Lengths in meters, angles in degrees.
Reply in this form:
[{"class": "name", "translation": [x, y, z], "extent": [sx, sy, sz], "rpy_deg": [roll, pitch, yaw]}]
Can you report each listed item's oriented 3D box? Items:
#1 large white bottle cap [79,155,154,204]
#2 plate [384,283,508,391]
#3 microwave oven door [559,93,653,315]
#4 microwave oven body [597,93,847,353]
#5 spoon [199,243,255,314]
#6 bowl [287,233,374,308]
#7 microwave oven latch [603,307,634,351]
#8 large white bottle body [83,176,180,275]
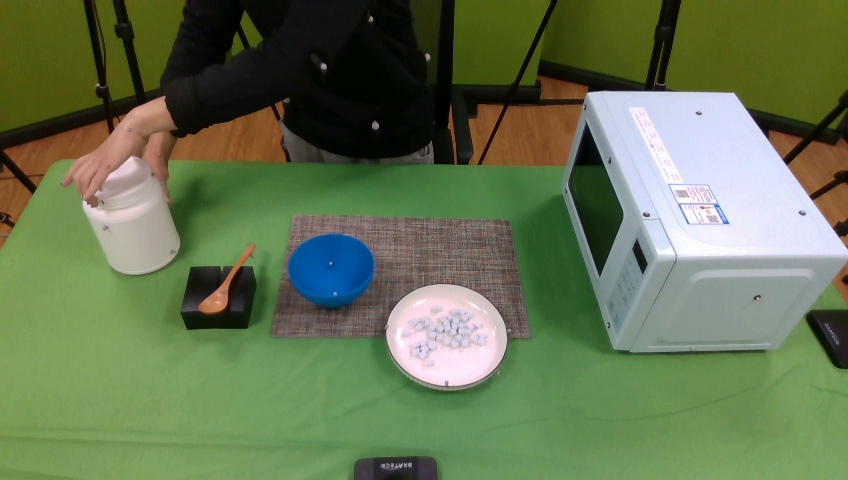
[{"class": "large white bottle cap", "translation": [-0.519, -0.104, 1.025], "extent": [0.115, 0.018, 0.114], "rpy_deg": [3, 45, -3]}, {"class": "plate", "translation": [0.036, 0.166, 1.028], "extent": [0.209, 0.038, 0.208], "rpy_deg": [2, 49, -2]}, {"class": "microwave oven door", "translation": [0.327, -0.074, 1.123], "extent": [0.039, 0.245, 0.353], "rpy_deg": [-1, 46, -5]}, {"class": "microwave oven body", "translation": [0.475, -0.041, 1.109], "extent": [0.326, 0.261, 0.438], "rpy_deg": [-1, 45, -4]}, {"class": "spoon", "translation": [-0.333, 0.063, 1.051], "extent": [0.041, 0.022, 0.193], "rpy_deg": [6, 40, 9]}, {"class": "bowl", "translation": [-0.165, 0.068, 1.078], "extent": [0.151, 0.077, 0.150], "rpy_deg": [3, 46, -3]}, {"class": "microwave oven latch", "translation": [0.332, 0.153, 1.044], "extent": [0.030, 0.029, 0.078], "rpy_deg": [0, 45, -4]}, {"class": "large white bottle body", "translation": [-0.524, -0.042, 1.086], "extent": [0.131, 0.185, 0.130], "rpy_deg": [2, 46, -2]}]
